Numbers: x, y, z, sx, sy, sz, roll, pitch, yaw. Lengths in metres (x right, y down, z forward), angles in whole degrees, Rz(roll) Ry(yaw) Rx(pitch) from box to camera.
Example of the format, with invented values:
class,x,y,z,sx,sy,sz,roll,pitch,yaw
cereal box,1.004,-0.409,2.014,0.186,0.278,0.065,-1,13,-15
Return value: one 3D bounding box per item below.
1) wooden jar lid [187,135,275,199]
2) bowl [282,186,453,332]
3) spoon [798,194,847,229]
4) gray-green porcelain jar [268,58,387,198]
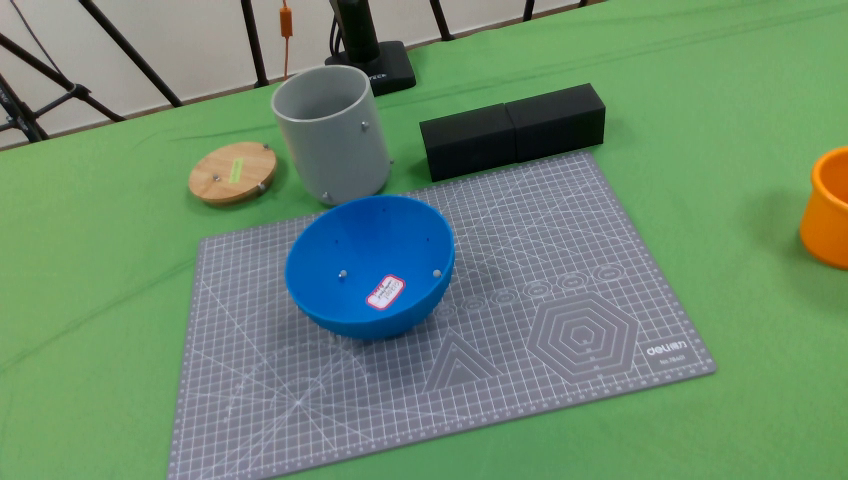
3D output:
class,x,y,z,sx,sy,sz,roll,pitch,yaw
wooden jar lid,-0.235,-0.089,0.744,0.108,0.021,0.107,-4,47,5
bowl,-0.043,0.030,0.548,0.151,0.077,0.150,-6,47,7
spoon,0.399,-0.046,0.481,0.022,0.193,0.041,43,57,-10
gray-green porcelain jar,-0.100,-0.118,0.668,0.106,0.128,0.105,-6,47,7
